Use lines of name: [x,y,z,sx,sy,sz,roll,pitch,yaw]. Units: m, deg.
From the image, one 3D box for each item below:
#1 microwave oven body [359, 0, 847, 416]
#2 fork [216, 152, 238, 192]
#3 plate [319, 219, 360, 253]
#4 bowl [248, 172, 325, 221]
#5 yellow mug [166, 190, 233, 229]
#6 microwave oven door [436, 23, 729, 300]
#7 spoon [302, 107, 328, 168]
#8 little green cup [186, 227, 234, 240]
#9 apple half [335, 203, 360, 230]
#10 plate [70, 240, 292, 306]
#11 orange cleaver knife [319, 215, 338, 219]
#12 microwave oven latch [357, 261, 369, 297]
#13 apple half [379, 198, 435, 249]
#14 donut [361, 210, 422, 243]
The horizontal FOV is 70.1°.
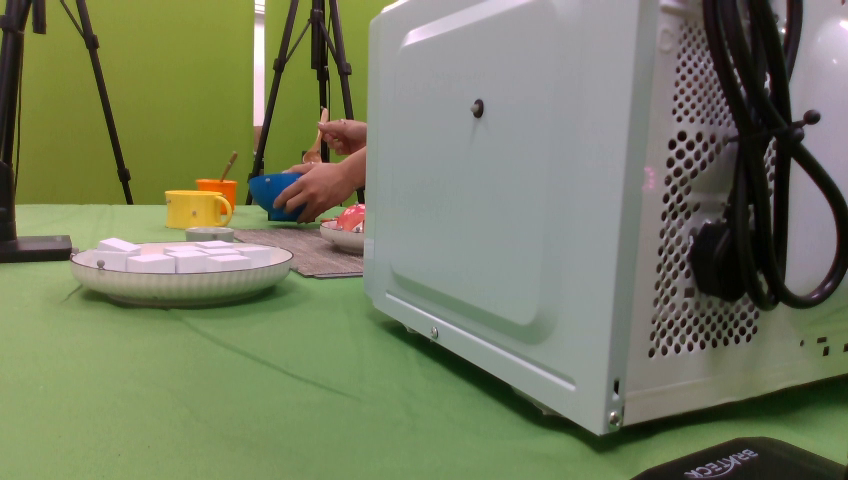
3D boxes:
microwave oven body: [0.211,-0.047,0.474,0.444,0.260,0.324,-1,7,-28]
fork: [-0.455,-0.132,1.367,0.028,0.018,0.207,-3,-35,-38]
plate: [-0.058,-0.007,0.939,0.209,0.038,0.209,3,8,0]
bowl: [-0.268,-0.081,1.195,0.151,0.076,0.151,-4,-5,0]
yellow mug: [-0.415,-0.057,1.132,0.130,0.064,0.100,6,8,16]
microwave oven door: [0.180,-0.072,0.621,0.358,0.243,0.039,-2,9,-29]
spoon: [-0.226,-0.222,1.297,0.042,0.193,0.021,20,-38,-17]
little green cup: [-0.284,0.005,0.805,0.061,0.038,0.061,2,8,0]
apple half: [-0.116,-0.038,0.960,0.081,0.033,0.081,-38,8,7]
plate: [-0.242,0.031,0.618,0.208,0.039,0.207,2,8,0]
orange cleaver knife: [-0.142,-0.057,1.394,0.077,0.012,0.212,4,7,44]
microwave oven latch: [-0.019,0.033,0.530,0.079,0.029,0.030,-1,7,-27]
apple half: [-0.020,-0.030,0.891,0.081,0.053,0.074,-2,49,-26]
donut: [-0.051,-0.020,0.959,0.099,0.048,0.099,7,7,-1]
